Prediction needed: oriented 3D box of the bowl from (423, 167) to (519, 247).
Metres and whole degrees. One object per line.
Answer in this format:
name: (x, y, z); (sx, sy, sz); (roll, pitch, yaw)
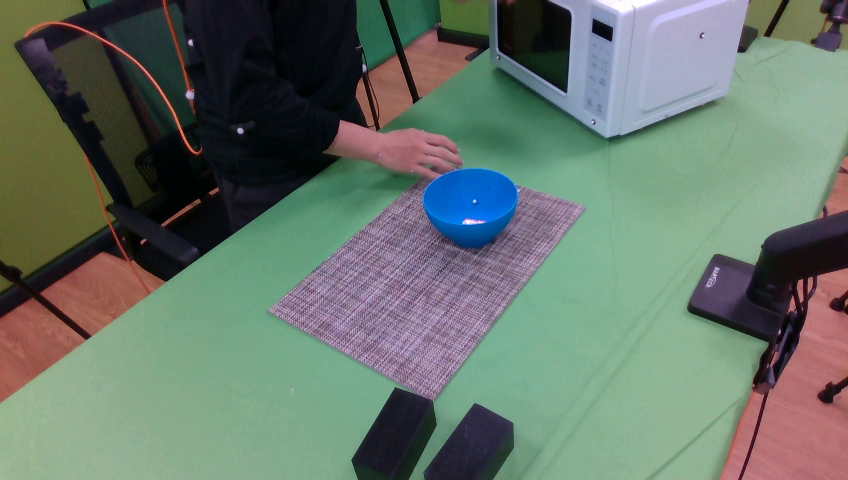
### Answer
bowl: (0.075, -0.041, 0.958); (0.151, 0.077, 0.150); (-4, 40, 4)

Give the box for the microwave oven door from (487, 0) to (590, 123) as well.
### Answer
microwave oven door: (0.232, -0.420, 1.231); (0.039, 0.245, 0.352); (-22, 43, -16)

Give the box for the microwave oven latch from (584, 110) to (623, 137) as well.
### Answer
microwave oven latch: (0.337, -0.222, 1.142); (0.030, 0.029, 0.078); (-21, 42, -14)

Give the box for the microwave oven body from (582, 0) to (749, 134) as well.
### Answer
microwave oven body: (0.382, -0.445, 1.246); (0.327, 0.261, 0.437); (-22, 42, -16)
